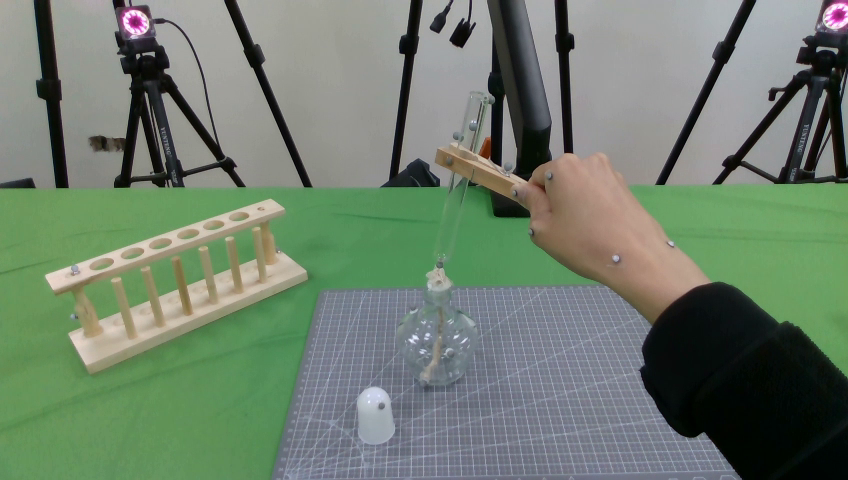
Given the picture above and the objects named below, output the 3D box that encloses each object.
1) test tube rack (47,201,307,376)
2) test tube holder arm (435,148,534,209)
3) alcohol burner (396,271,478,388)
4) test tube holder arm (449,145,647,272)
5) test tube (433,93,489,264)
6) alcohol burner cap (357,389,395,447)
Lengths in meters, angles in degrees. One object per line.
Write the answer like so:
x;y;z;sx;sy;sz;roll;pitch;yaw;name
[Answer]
-0.252;0.043;0.652;0.243;0.086;0.066;-24;38;-34;test tube rack
0.045;-0.047;0.456;0.087;0.015;0.010;29;36;26;test tube holder arm
0.012;0.077;0.555;0.078;0.120;0.077;0;33;0;alcohol burner
0.081;-0.028;0.437;0.176;0.015;0.013;35;39;32;test tube holder arm
0.027;-0.043;0.481;0.017;0.151;0.017;9;33;-5;test tube
-0.041;0.146;0.510;0.034;0.048;0.033;0;31;0;alcohol burner cap
